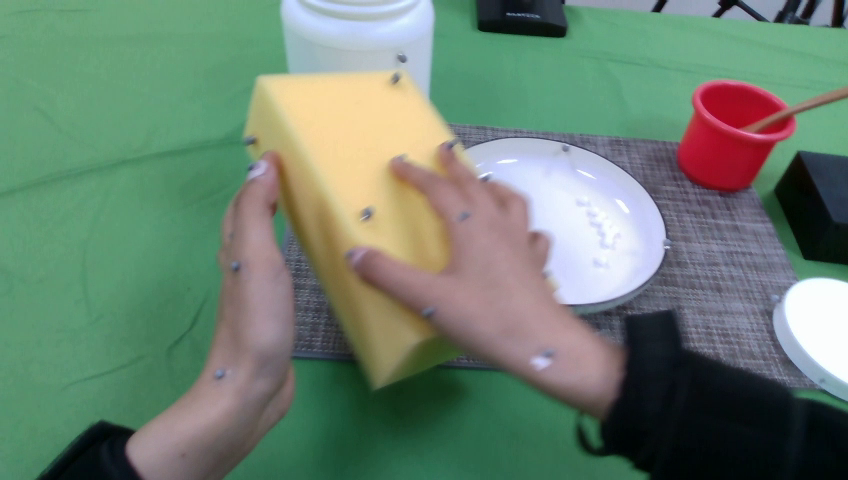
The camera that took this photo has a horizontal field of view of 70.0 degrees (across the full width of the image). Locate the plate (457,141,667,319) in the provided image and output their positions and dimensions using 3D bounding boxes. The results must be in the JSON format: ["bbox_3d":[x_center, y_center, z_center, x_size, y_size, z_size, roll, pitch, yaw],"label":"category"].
[{"bbox_3d":[0.103,-0.010,0.533,0.209,0.038,0.207,3,46,-3],"label":"plate"}]

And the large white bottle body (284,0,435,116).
[{"bbox_3d":[-0.057,-0.161,0.556,0.131,0.186,0.129,3,47,-3],"label":"large white bottle body"}]

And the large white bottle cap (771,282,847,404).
[{"bbox_3d":[0.341,0.082,0.487,0.115,0.018,0.113,5,47,-5],"label":"large white bottle cap"}]

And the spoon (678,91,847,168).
[{"bbox_3d":[0.345,-0.112,0.582,0.193,0.022,0.041,-24,34,34],"label":"spoon"}]

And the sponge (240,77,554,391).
[{"bbox_3d":[-0.024,-0.017,0.408,0.118,0.061,0.205,-16,62,-37],"label":"sponge"}]
